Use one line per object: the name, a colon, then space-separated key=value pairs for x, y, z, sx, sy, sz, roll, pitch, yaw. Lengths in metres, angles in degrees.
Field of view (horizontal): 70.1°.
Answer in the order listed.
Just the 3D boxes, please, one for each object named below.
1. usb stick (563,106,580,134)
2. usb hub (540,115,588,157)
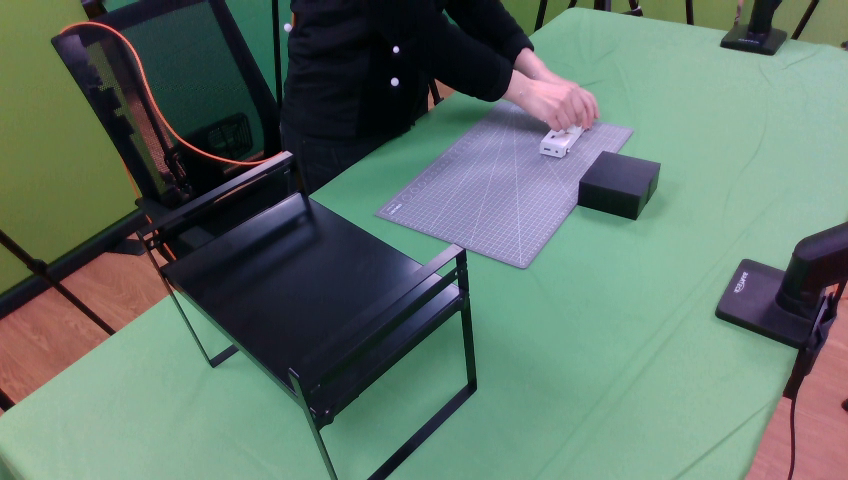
usb stick: x=0.276 y=-0.219 z=1.133 sx=0.027 sy=0.059 sz=0.021 roll=20 pitch=48 yaw=25
usb hub: x=0.271 y=-0.203 z=1.164 sx=0.049 sy=0.025 sz=0.125 roll=18 pitch=47 yaw=28
